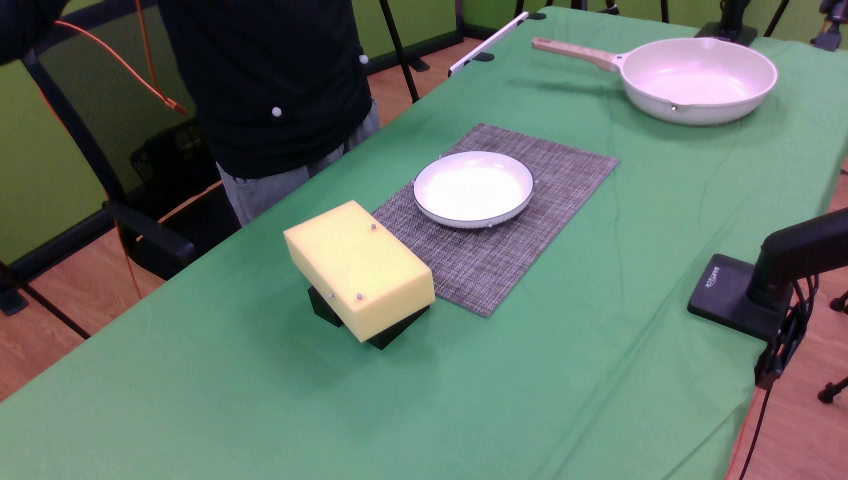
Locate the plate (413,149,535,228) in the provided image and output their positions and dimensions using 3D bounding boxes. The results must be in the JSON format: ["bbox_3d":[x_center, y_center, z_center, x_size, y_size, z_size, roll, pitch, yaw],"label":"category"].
[{"bbox_3d":[0.086,-0.085,1.038,0.207,0.039,0.206,-4,40,4],"label":"plate"}]

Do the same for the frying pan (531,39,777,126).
[{"bbox_3d":[0.452,-0.354,1.254,0.485,0.103,0.307,22,47,19],"label":"frying pan"}]

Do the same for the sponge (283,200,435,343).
[{"bbox_3d":[-0.093,0.036,0.835,0.119,0.061,0.205,-29,45,-23],"label":"sponge"}]
